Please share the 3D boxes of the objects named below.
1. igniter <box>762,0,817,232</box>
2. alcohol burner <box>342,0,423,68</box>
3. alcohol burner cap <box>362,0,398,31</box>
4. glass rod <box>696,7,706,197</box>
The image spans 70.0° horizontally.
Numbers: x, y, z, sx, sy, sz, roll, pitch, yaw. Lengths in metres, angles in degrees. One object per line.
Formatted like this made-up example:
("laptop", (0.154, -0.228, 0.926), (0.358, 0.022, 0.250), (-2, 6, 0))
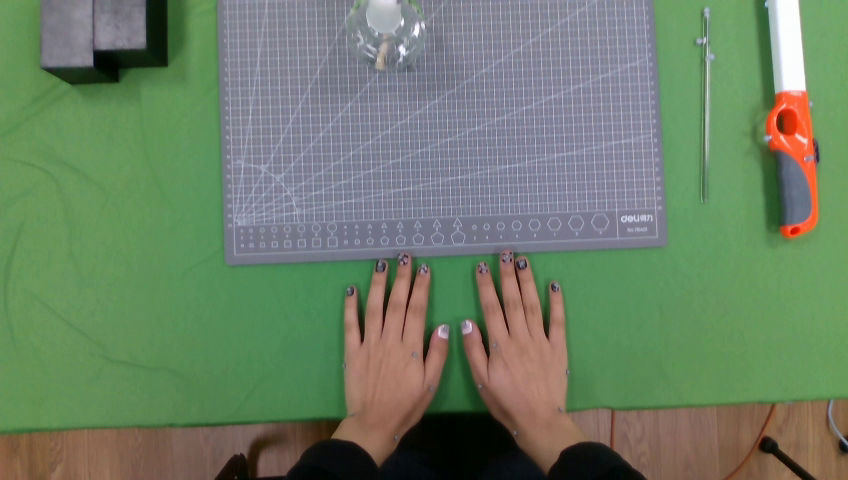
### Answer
("igniter", (0.372, -0.146, 0.621), (0.057, 0.025, 0.276), (-2, 88, -12))
("alcohol burner", (-0.039, -0.207, 0.568), (0.078, 0.119, 0.078), (0, 86, -3))
("alcohol burner cap", (-0.037, -0.211, 0.532), (0.034, 0.048, 0.033), (1, 80, -8))
("glass rod", (0.287, -0.144, 0.628), (0.008, 0.008, 0.199), (2, 88, -1))
